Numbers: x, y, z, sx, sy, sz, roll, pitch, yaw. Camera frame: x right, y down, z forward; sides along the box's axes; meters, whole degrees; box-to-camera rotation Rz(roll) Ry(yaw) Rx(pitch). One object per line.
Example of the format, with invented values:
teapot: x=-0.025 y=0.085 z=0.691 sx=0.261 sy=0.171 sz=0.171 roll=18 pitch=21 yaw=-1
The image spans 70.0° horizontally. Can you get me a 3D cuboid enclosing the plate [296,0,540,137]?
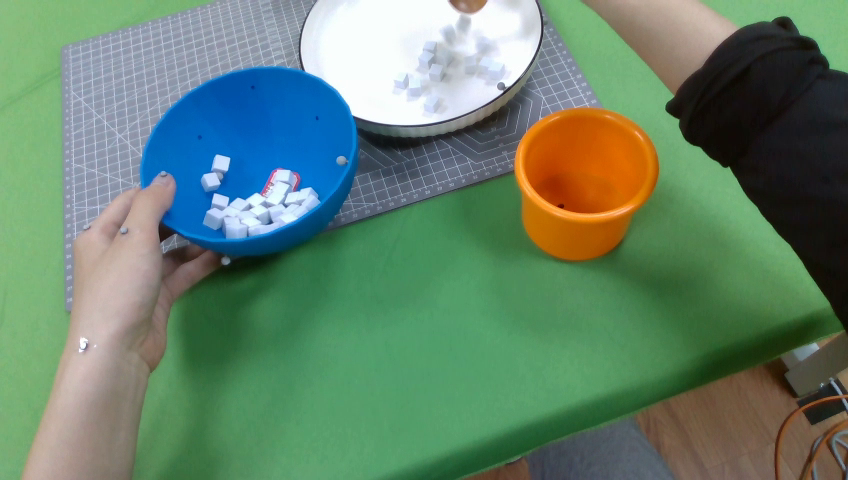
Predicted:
plate: x=-0.006 y=-0.170 z=0.527 sx=0.209 sy=0.038 sz=0.207 roll=-2 pitch=62 yaw=5

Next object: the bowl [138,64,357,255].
bowl: x=-0.117 y=-0.046 z=0.446 sx=0.151 sy=0.077 sz=0.150 roll=-2 pitch=62 yaw=5

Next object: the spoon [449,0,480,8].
spoon: x=0.038 y=-0.227 z=0.419 sx=0.041 sy=0.194 sz=0.021 roll=31 pitch=77 yaw=2
